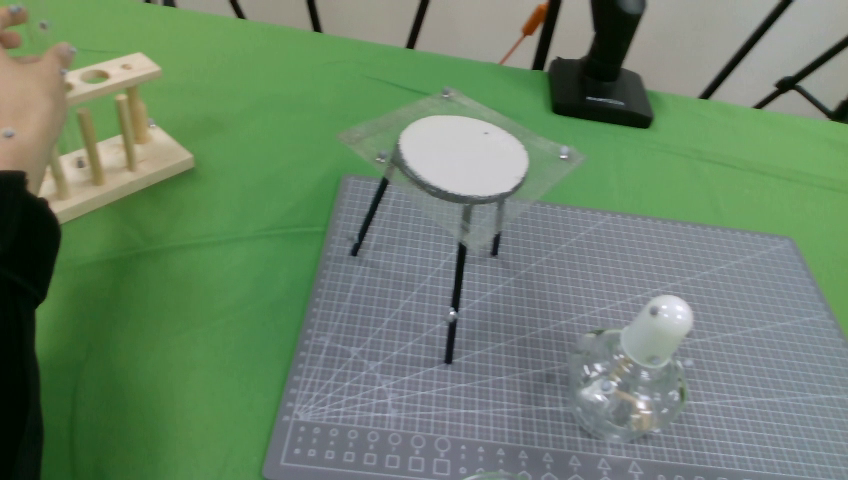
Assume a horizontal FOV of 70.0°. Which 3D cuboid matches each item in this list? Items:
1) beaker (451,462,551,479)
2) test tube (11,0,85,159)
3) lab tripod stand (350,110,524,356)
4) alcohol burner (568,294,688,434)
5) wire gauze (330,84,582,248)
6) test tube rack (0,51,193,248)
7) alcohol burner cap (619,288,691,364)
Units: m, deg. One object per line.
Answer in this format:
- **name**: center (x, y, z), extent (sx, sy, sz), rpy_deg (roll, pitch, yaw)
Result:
- **beaker**: center (0.027, 0.165, 0.293), extent (0.084, 0.101, 0.073), rpy_deg (1, 44, -9)
- **test tube**: center (-0.287, -0.127, 0.464), extent (0.017, 0.151, 0.017), rpy_deg (4, 41, -3)
- **lab tripod stand**: center (0.016, -0.012, 0.441), extent (0.149, 0.132, 0.147), rpy_deg (7, 45, -7)
- **alcohol burner**: center (0.137, 0.074, 0.392), extent (0.078, 0.120, 0.077), rpy_deg (7, 43, -6)
- **wire gauze**: center (0.023, -0.060, 0.394), extent (0.124, 0.011, 0.121), rpy_deg (37, 51, 23)
- **test tube rack**: center (-0.309, -0.060, 0.464), extent (0.066, 0.086, 0.242), rpy_deg (37, 49, 24)
- **alcohol burner cap**: center (0.142, 0.050, 0.366), extent (0.034, 0.048, 0.033), rpy_deg (5, 48, -5)
